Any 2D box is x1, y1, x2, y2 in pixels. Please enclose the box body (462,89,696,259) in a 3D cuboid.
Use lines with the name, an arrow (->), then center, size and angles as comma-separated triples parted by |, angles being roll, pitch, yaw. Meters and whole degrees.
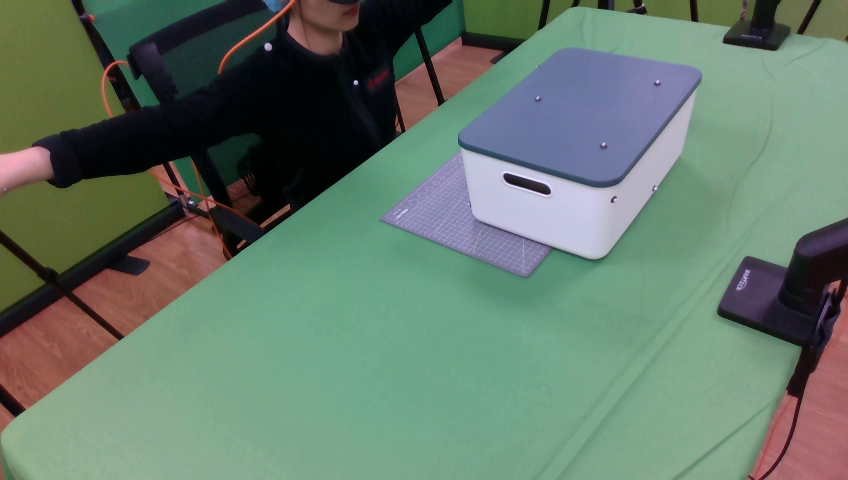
box body -> 0.261, -0.153, 1.001 | 0.252, 0.161, 0.365 | 21, 48, 31

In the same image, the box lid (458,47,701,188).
box lid -> 0.253, -0.211, 0.954 | 0.261, 0.015, 0.372 | 22, 49, 30
